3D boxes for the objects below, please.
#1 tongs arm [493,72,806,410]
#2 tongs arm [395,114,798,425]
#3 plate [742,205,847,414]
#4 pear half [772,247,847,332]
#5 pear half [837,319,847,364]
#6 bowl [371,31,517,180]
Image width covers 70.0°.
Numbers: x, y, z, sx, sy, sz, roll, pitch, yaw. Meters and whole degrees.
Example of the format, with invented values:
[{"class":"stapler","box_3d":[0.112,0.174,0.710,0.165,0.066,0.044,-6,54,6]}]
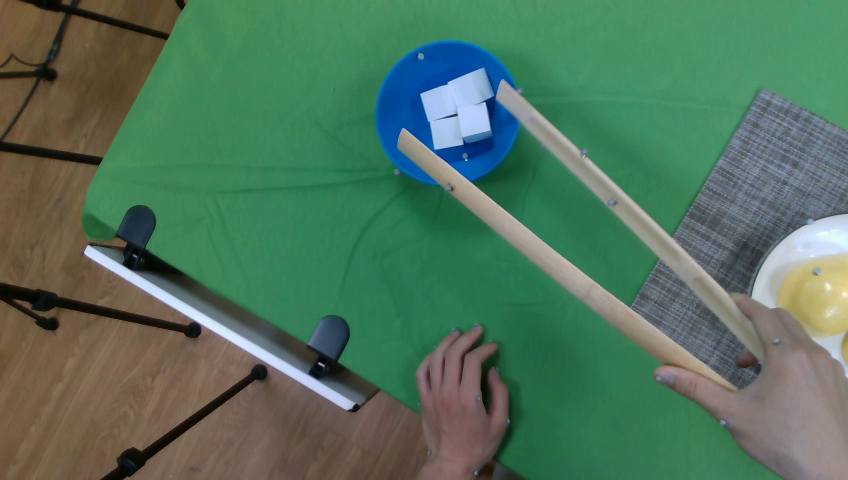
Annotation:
[{"class":"tongs arm","box_3d":[0.171,-0.016,0.527,0.051,0.027,0.382,-27,65,-31]},{"class":"tongs arm","box_3d":[0.119,0.016,0.491,0.385,0.028,0.028,40,50,15]},{"class":"plate","box_3d":[0.429,0.069,0.614,0.207,0.039,0.207,0,88,7]},{"class":"pear half","box_3d":[0.409,0.038,0.604,0.076,0.056,0.110,41,89,3]},{"class":"pear half","box_3d":[0.464,0.100,0.604,0.088,0.031,0.070,-28,89,11]},{"class":"bowl","box_3d":[0.025,-0.134,0.652,0.151,0.077,0.151,0,88,7]}]
